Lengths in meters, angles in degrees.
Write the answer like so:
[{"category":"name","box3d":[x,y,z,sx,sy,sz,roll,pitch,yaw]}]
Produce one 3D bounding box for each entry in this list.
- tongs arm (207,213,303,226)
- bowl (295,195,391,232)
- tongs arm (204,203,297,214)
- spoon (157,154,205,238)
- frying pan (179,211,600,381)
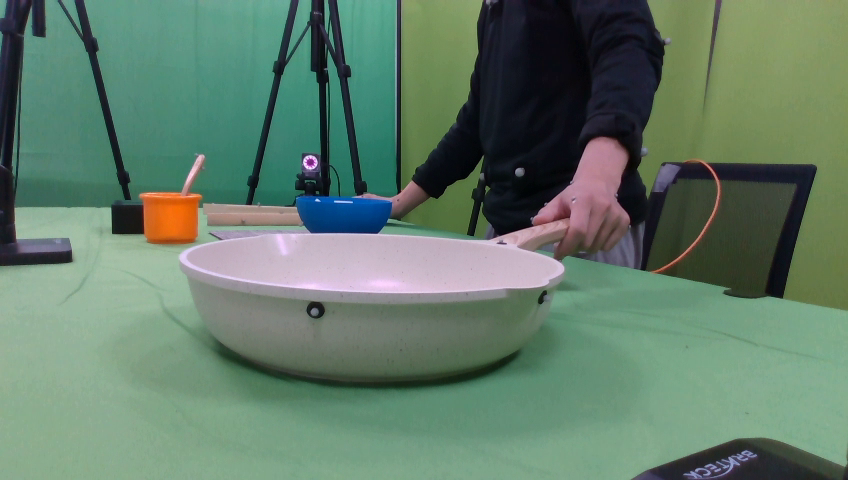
[{"category":"tongs arm","box3d":[-0.264,-0.047,1.297,0.390,0.028,0.028,-2,7,-31]},{"category":"bowl","box3d":[-0.127,-0.028,0.946,0.151,0.077,0.151,2,7,0]},{"category":"tongs arm","box3d":[-0.294,-0.062,1.370,0.386,0.026,0.050,1,9,-19]},{"category":"spoon","box3d":[-0.392,-0.076,0.998,0.041,0.193,0.021,1,-36,5]},{"category":"frying pan","box3d":[0.034,0.019,0.557,0.305,0.102,0.490,11,19,44]}]
